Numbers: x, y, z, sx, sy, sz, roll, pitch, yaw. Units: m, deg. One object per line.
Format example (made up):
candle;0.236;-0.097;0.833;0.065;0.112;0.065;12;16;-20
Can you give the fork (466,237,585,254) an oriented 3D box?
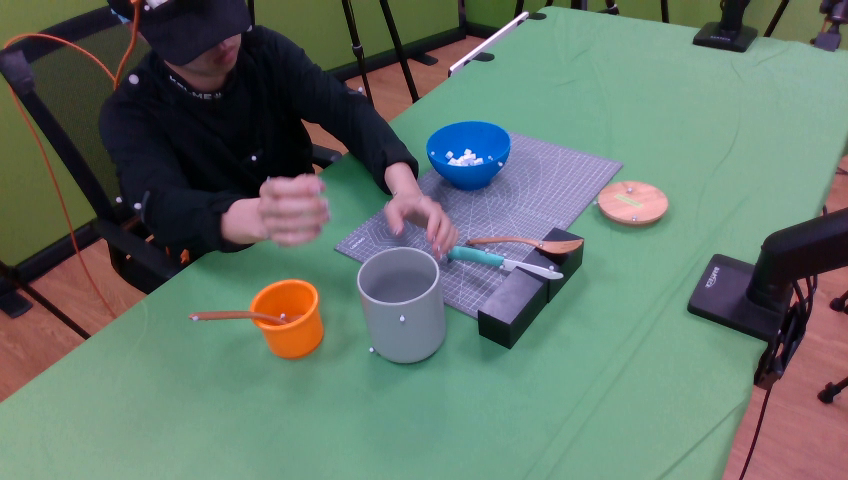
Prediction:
fork;0.142;0.005;0.894;0.205;0.019;0.028;5;40;42

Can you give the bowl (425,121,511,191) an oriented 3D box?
bowl;0.081;-0.141;1.074;0.151;0.077;0.150;-4;40;4

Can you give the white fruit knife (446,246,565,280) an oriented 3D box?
white fruit knife;0.111;0.033;0.867;0.205;0.027;0.016;11;42;40

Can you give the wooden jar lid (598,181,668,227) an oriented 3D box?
wooden jar lid;0.340;-0.058;0.988;0.108;0.021;0.108;-5;41;5

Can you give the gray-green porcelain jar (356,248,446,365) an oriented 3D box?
gray-green porcelain jar;-0.027;0.091;0.786;0.106;0.127;0.105;-4;40;4

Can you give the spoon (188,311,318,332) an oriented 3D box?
spoon;-0.216;0.102;0.783;0.041;0.195;0.021;27;96;39
